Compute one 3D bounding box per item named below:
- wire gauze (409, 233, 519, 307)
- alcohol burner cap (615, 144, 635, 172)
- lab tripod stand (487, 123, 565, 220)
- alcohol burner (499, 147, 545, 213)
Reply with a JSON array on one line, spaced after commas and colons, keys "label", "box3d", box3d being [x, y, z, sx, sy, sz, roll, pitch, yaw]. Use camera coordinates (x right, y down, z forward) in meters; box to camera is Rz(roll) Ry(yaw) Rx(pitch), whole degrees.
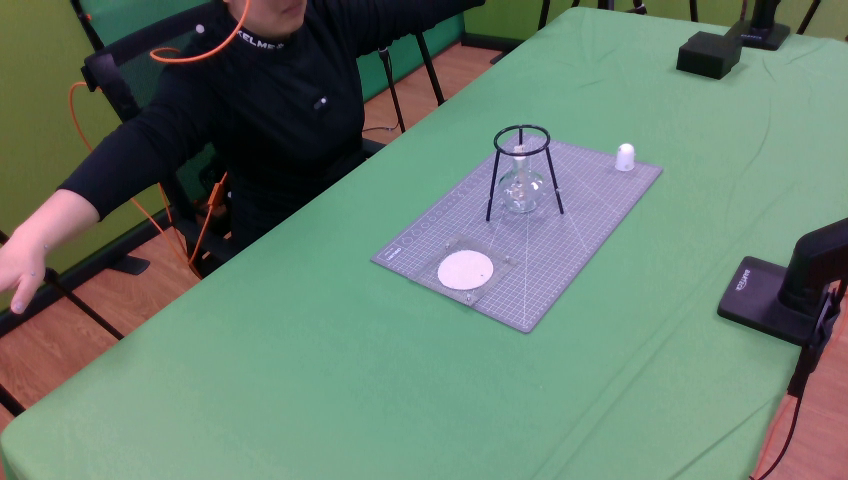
[{"label": "wire gauze", "box3d": [0.061, 0.045, 0.925, 0.120, 0.011, 0.125, 25, 52, 35]}, {"label": "alcohol burner cap", "box3d": [0.357, -0.147, 1.069, 0.034, 0.048, 0.033, -7, 41, 6]}, {"label": "lab tripod stand", "box3d": [0.162, -0.110, 0.992, 0.148, 0.132, 0.147, -5, 42, 5]}, {"label": "alcohol burner", "box3d": [0.161, -0.104, 1.001, 0.078, 0.120, 0.077, -6, 42, 6]}]
